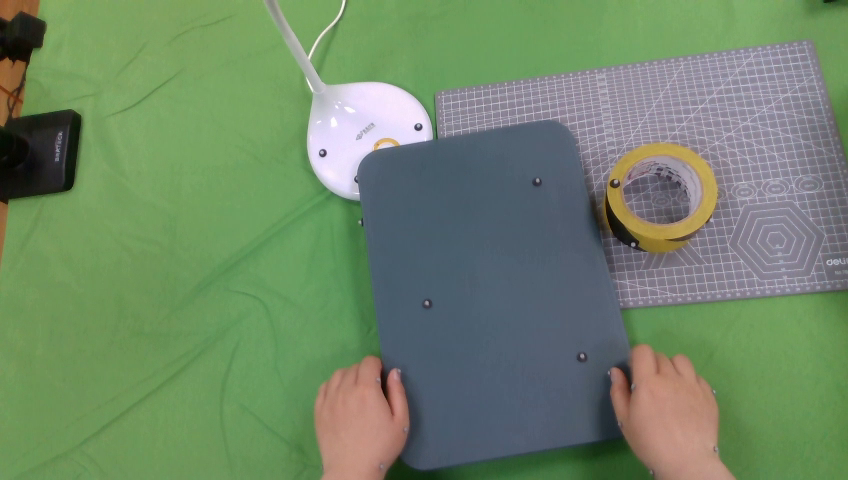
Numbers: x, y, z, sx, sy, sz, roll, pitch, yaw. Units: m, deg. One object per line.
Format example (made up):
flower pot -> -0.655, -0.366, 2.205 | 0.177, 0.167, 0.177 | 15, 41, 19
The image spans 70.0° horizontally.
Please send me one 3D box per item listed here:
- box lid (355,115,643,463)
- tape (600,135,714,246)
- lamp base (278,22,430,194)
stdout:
box lid -> 0.070, 0.036, 0.671 | 0.263, 0.015, 0.369 | -10, 71, 0
tape -> 0.251, -0.054, 0.663 | 0.117, 0.053, 0.116 | -2, 74, 8
lamp base -> -0.095, -0.160, 0.689 | 0.178, 0.181, 0.160 | 33, 82, 20
